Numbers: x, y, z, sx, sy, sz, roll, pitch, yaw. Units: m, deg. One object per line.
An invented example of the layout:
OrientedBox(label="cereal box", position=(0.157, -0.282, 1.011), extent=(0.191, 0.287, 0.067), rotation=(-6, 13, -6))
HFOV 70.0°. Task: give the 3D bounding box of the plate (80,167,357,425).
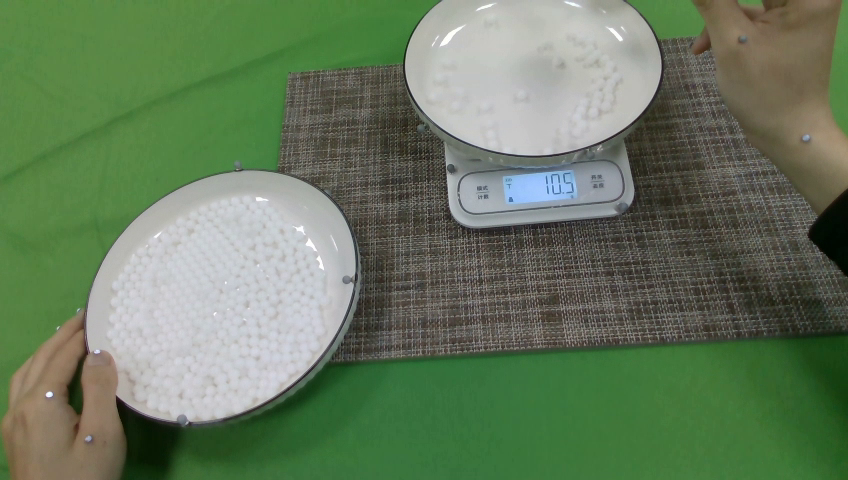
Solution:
OrientedBox(label="plate", position=(-0.151, 0.038, 0.461), extent=(0.209, 0.038, 0.207), rotation=(-3, 61, 6))

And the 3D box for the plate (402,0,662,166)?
OrientedBox(label="plate", position=(0.086, -0.142, 0.504), extent=(0.207, 0.039, 0.206), rotation=(-2, 60, 4))

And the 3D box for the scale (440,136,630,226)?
OrientedBox(label="scale", position=(0.087, -0.107, 0.522), extent=(0.148, 0.032, 0.199), rotation=(-5, 60, 3))
